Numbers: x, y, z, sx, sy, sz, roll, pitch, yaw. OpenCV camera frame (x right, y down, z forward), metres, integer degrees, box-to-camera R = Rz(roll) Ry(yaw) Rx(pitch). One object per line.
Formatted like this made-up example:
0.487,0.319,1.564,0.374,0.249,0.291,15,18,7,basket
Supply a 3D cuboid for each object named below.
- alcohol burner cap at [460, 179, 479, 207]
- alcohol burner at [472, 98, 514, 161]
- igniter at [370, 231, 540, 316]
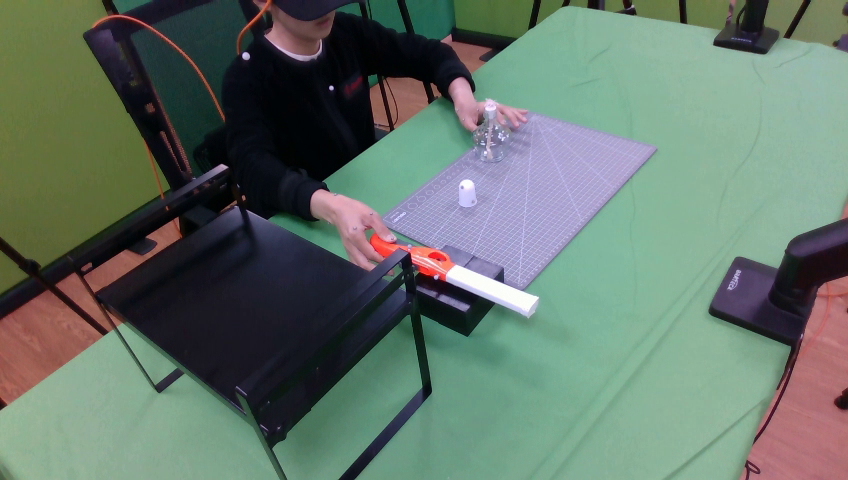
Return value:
0.078,-0.083,1.041,0.034,0.048,0.033,-5,42,5,alcohol burner cap
0.127,-0.208,1.124,0.078,0.119,0.077,-5,39,5,alcohol burner
0.031,0.041,0.841,0.274,0.025,0.057,22,41,29,igniter
